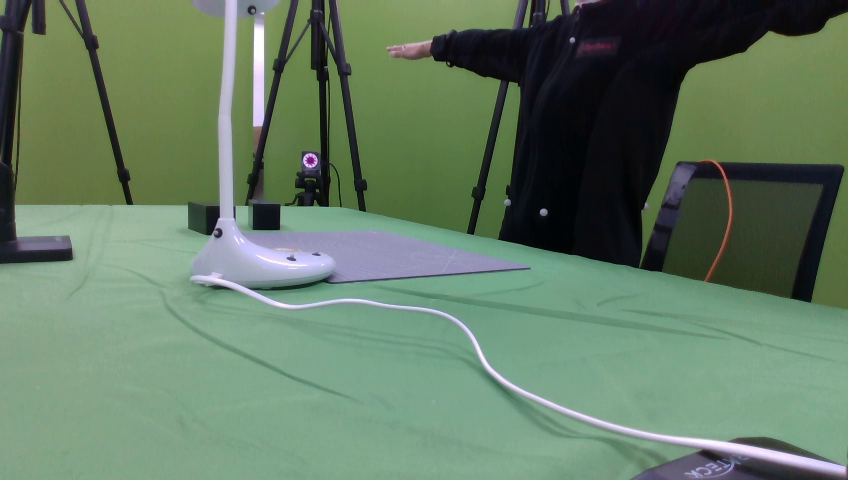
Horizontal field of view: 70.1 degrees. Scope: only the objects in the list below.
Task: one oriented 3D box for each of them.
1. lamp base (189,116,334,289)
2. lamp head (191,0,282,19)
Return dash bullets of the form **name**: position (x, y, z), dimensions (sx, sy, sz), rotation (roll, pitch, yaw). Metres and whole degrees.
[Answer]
- **lamp base**: position (-0.185, -0.044, 0.669), dimensions (0.160, 0.180, 0.179), rotation (3, 10, 14)
- **lamp head**: position (-0.222, -0.330, 0.689), dimensions (0.112, 0.112, 0.123), rotation (3, -33, -4)
